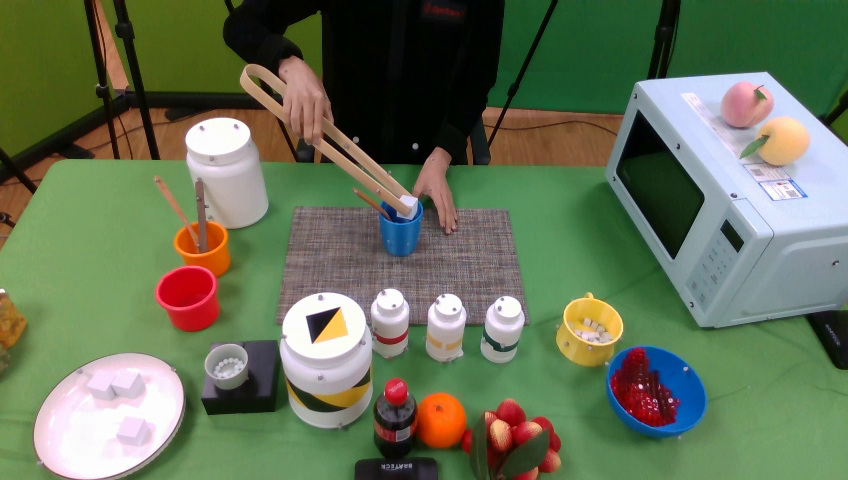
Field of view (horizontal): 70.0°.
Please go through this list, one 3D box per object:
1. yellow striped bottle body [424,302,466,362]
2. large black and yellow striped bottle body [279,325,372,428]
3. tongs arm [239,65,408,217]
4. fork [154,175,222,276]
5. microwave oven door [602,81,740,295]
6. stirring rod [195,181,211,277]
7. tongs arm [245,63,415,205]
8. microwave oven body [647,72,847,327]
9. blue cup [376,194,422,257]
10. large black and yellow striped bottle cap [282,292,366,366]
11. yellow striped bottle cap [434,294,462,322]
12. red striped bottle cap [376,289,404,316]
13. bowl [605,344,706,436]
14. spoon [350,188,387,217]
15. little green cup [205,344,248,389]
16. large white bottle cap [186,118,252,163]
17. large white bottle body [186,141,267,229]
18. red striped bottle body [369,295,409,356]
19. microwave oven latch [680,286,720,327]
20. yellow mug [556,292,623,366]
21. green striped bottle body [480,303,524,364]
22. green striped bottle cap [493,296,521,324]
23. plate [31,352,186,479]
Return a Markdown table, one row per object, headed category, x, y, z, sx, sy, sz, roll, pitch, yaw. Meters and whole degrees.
| category | x | y | z | sx | sy | sz | roll | pitch | yaw |
| --- | --- | --- | --- | --- | --- | --- | --- | --- | --- |
| yellow striped bottle body | 0.035 | 0.143 | 0.995 | 0.063 | 0.121 | 0.062 | 3 | 46 | -3 |
| large black and yellow striped bottle body | -0.143 | 0.181 | 0.900 | 0.131 | 0.185 | 0.130 | 2 | 46 | -2 |
| tongs arm | -0.181 | -0.173 | 1.089 | 0.388 | 0.028 | 0.028 | 40 | 43 | -6 |
| fork | -0.431 | -0.027 | 1.101 | 0.028 | 0.018 | 0.207 | -33 | 100 | -25 |
| microwave oven door | 0.456 | -0.107 | 1.162 | 0.039 | 0.245 | 0.353 | -7 | 47 | -11 |
| stirring rod | -0.403 | -0.020 | 1.104 | 0.014 | 0.006 | 0.176 | -6 | 89 | -9 |
| tongs arm | -0.173 | -0.185 | 1.107 | 0.385 | 0.026 | 0.050 | 43 | 39 | -2 |
| microwave oven body | 0.608 | -0.090 | 1.164 | 0.326 | 0.261 | 0.438 | -7 | 46 | -10 |
| blue cup | -0.049 | -0.022 | 1.155 | 0.093 | 0.101 | 0.092 | 3 | 48 | -3 |
| large black and yellow striped bottle cap | -0.138 | 0.121 | 0.841 | 0.115 | 0.019 | 0.114 | 3 | 47 | -3 |
| yellow striped bottle cap | 0.038 | 0.107 | 0.958 | 0.044 | 0.019 | 0.044 | 2 | 45 | -2 |
| red striped bottle cap | -0.054 | 0.098 | 0.958 | 0.044 | 0.018 | 0.044 | 0 | 48 | 1 |
| bowl | 0.351 | 0.247 | 0.950 | 0.151 | 0.077 | 0.150 | 2 | 46 | -2 |
| spoon | -0.078 | -0.046 | 1.121 | 0.021 | 0.195 | 0.041 | -33 | 48 | 8 |
| little green cup | -0.294 | 0.191 | 0.909 | 0.061 | 0.039 | 0.061 | 1 | 47 | -1 |
| large white bottle cap | -0.377 | -0.185 | 1.115 | 0.115 | 0.018 | 0.114 | 2 | 46 | -2 |
| large white bottle body | -0.382 | -0.127 | 1.176 | 0.131 | 0.185 | 0.130 | 2 | 46 | -2 |
| red striped bottle body | -0.059 | 0.134 | 0.997 | 0.063 | 0.120 | 0.062 | 5 | 48 | -5 |
| microwave oven latch | 0.494 | 0.119 | 1.088 | 0.030 | 0.029 | 0.078 | -7 | 46 | -10 |
| yellow mug | 0.285 | 0.145 | 1.051 | 0.100 | 0.064 | 0.130 | 7 | 46 | 4 |
| green striped bottle body | 0.129 | 0.147 | 1.000 | 0.063 | 0.120 | 0.063 | 2 | 46 | -2 |
| green striped bottle cap | 0.133 | 0.111 | 0.962 | 0.044 | 0.020 | 0.044 | 2 | 47 | -2 |
| plate | -0.459 | 0.262 | 0.898 | 0.209 | 0.038 | 0.208 | 2 | 46 | -2 |
